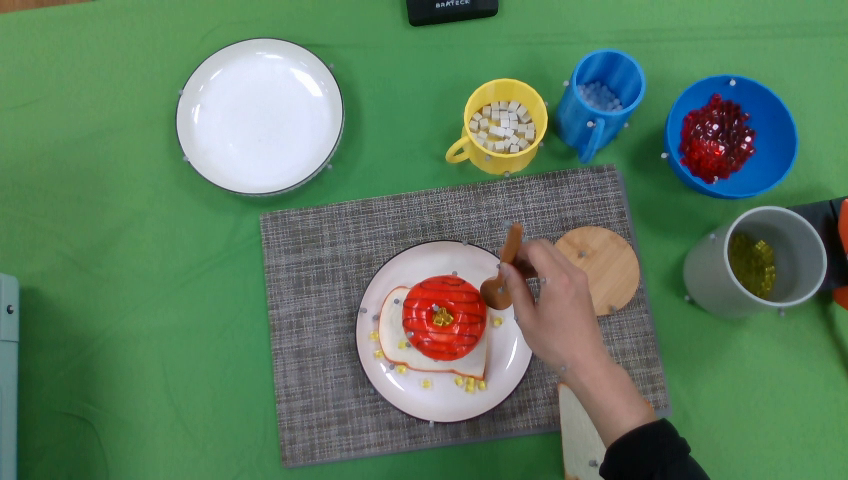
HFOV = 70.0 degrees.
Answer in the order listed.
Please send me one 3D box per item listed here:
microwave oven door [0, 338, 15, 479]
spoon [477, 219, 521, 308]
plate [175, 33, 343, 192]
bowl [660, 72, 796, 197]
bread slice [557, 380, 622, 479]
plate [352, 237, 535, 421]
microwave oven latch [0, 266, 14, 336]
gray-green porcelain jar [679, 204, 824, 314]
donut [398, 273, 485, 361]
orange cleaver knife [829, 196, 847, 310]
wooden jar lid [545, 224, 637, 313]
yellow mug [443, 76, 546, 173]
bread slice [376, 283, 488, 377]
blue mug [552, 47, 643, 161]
[{"bbox_3d":[-0.471,0.262,0.554,0.039,0.245,0.354,-7,78,-1],"label":"microwave oven door"},{"bbox_3d":[0.080,0.029,0.618,0.041,0.195,0.021,28,70,12],"label":"spoon"},{"bbox_3d":[-0.204,-0.157,0.762,0.208,0.039,0.206,0,78,0],"label":"plate"},{"bbox_3d":[0.350,-0.115,0.728,0.151,0.077,0.150,0,78,1],"label":"bowl"},{"bbox_3d":[0.171,0.200,0.636,0.018,0.134,0.106,0,76,-7],"label":"bread slice"},{"bbox_3d":[0.022,0.101,0.702,0.209,0.038,0.208,0,78,1],"label":"plate"},{"bbox_3d":[-0.493,0.070,0.697,0.030,0.029,0.079,-5,79,-1],"label":"microwave oven latch"},{"bbox_3d":[0.354,0.027,0.674,0.106,0.127,0.105,0,78,1],"label":"gray-green porcelain jar"},{"bbox_3d":[0.019,0.085,0.677,0.099,0.048,0.098,-1,75,3],"label":"donut"},{"bbox_3d":[0.488,0.057,0.689,0.012,0.076,0.212,-10,108,-1],"label":"orange cleaver knife"},{"bbox_3d":[0.198,0.034,0.724,0.108,0.021,0.108,0,79,1],"label":"wooden jar lid"},{"bbox_3d":[0.081,-0.133,0.740,0.131,0.064,0.099,-29,79,-4],"label":"yellow mug"},{"bbox_3d":[0.009,0.101,0.705,0.131,0.019,0.104,5,78,-1],"label":"bread slice"},{"bbox_3d":[0.201,-0.152,0.723,0.082,0.106,0.116,12,78,4],"label":"blue mug"}]
